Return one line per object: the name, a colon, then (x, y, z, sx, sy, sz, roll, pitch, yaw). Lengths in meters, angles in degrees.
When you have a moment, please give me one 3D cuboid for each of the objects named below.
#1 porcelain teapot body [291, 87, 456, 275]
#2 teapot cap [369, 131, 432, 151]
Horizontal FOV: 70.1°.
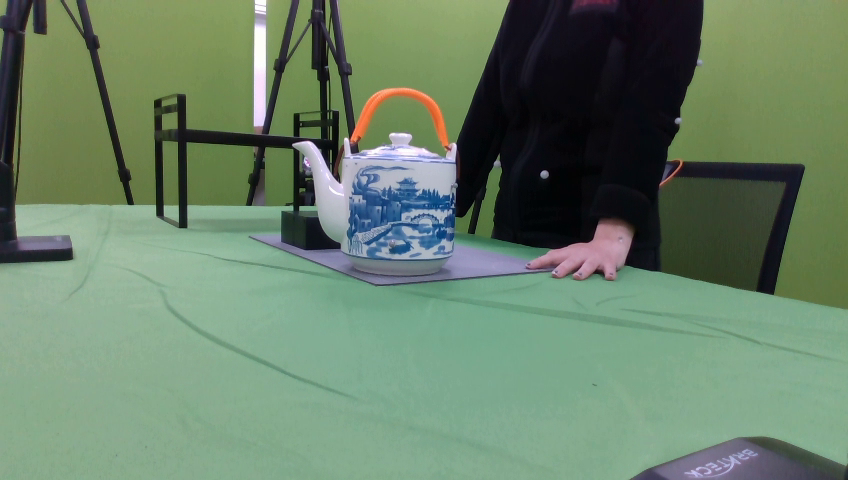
porcelain teapot body: (-0.060, -0.076, 0.754, 0.206, 0.225, 0.145, 0, 8, -12)
teapot cap: (-0.031, -0.114, 0.754, 0.085, 0.044, 0.085, 1, 11, 0)
